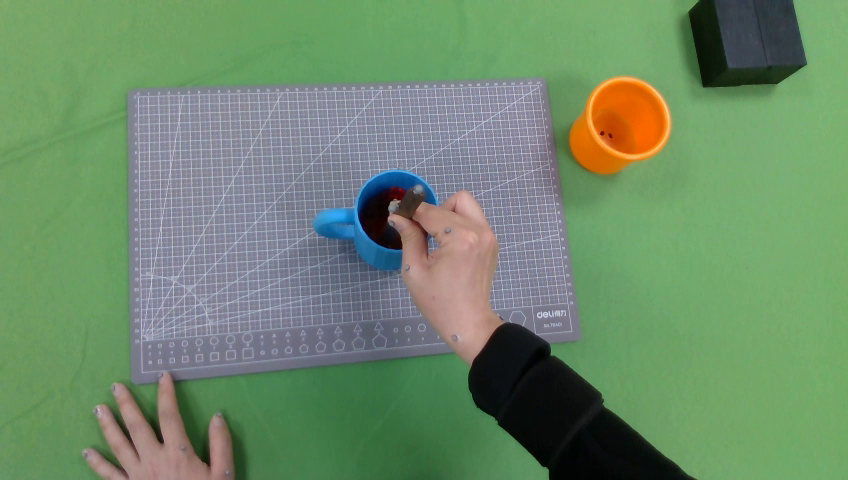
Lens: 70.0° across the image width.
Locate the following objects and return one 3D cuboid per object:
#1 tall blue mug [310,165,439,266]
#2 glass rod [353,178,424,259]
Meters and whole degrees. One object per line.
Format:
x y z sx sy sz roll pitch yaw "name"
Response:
-0.045 -0.013 0.580 0.107 0.108 0.077 -28 85 -12 "tall blue mug"
-0.035 -0.013 0.510 0.008 0.200 0.008 6 71 -18 "glass rod"
